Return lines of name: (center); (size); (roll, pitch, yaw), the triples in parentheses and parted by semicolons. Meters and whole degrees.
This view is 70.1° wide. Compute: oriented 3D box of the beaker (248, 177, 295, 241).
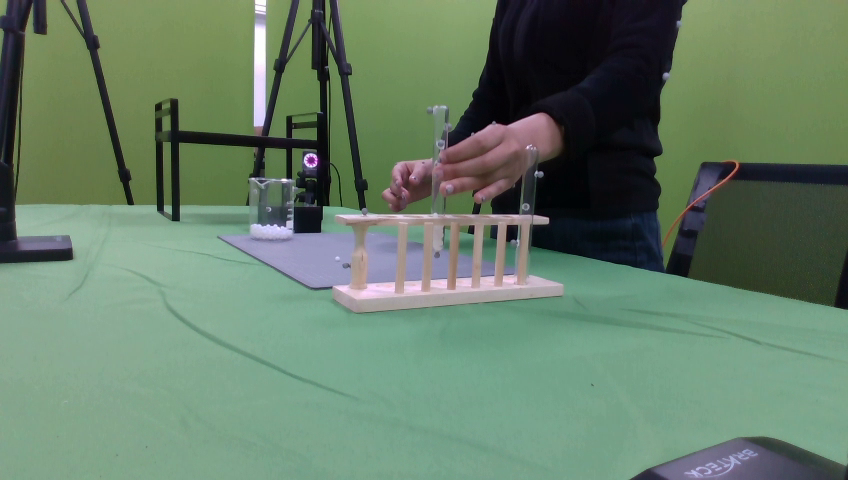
beaker: (-0.252, -0.051, 0.992); (0.074, 0.100, 0.084); (3, 9, 6)

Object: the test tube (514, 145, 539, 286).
test tube: (0.108, -0.024, 0.638); (0.017, 0.150, 0.017); (3, 9, 0)

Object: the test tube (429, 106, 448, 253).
test tube: (0.015, -0.061, 0.622); (0.017, 0.150, 0.017); (2, 8, 0)

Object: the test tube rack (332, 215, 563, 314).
test tube rack: (0.032, 0.019, 0.625); (0.243, 0.085, 0.066); (-1, 8, -28)
